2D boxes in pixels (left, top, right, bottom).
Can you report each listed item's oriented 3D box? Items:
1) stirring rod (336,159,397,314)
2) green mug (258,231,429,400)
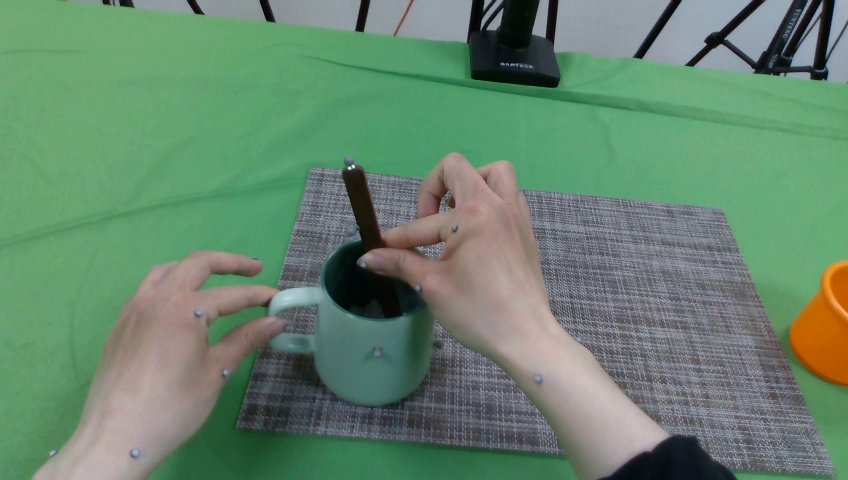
[{"bbox_3d":[-0.034,0.016,0.417,0.014,0.178,0.005,-7,45,4],"label":"stirring rod"},{"bbox_3d":[-0.057,0.057,0.443,0.125,0.106,0.091,-2,47,-11],"label":"green mug"}]
